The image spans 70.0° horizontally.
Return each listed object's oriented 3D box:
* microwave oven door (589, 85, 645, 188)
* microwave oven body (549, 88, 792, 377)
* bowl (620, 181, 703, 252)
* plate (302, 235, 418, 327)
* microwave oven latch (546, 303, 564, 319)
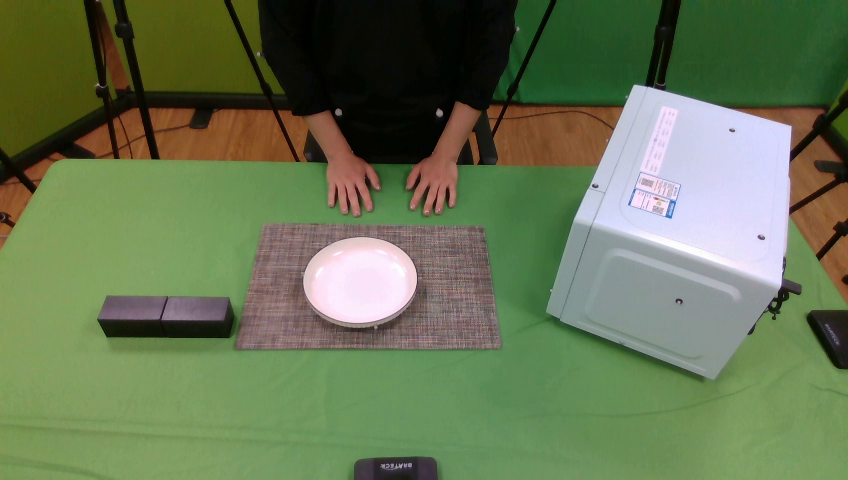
[{"bbox_3d":[0.342,-0.107,1.149,0.039,0.245,0.354,20,48,15],"label":"microwave oven door"},{"bbox_3d":[0.456,-0.028,1.088,0.325,0.261,0.440,20,47,16],"label":"microwave oven body"},{"bbox_3d":[0.433,-0.031,1.140,0.151,0.077,0.150,4,49,-4],"label":"bowl"},{"bbox_3d":[-0.114,0.077,1.098,0.208,0.039,0.206,2,46,-2],"label":"plate"},{"bbox_3d":[0.242,0.102,1.081,0.030,0.029,0.079,21,48,17],"label":"microwave oven latch"}]
